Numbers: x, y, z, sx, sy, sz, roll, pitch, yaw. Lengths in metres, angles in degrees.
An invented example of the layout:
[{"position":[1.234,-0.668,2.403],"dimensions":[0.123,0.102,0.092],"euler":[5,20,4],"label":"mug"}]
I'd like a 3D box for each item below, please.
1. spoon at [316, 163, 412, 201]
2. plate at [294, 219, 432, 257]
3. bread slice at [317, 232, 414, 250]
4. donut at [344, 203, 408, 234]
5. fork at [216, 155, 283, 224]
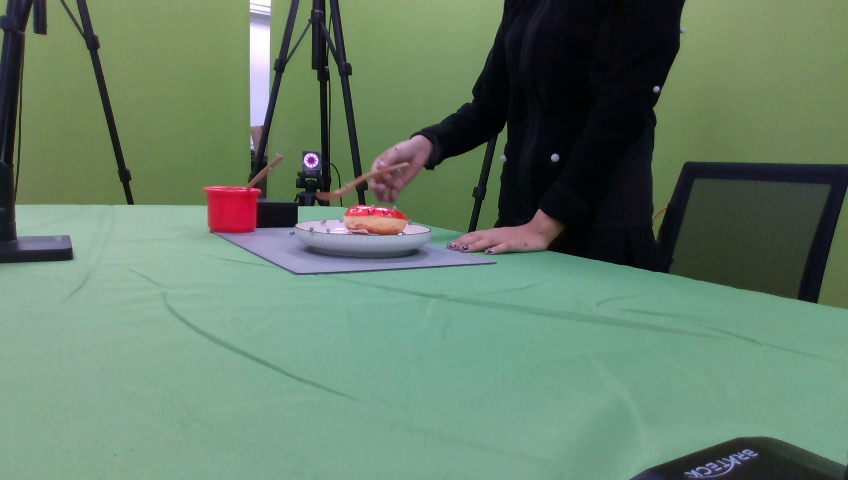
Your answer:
[{"position":[-0.100,-0.104,1.052],"dimensions":[0.194,0.021,0.041],"euler":[-28,10,-29],"label":"spoon"},{"position":[-0.092,-0.003,0.923],"dimensions":[0.209,0.038,0.209],"euler":[2,7,0],"label":"plate"},{"position":[-0.093,0.000,0.915],"dimensions":[0.132,0.019,0.104],"euler":[0,6,-26],"label":"bread slice"},{"position":[-0.074,-0.031,0.931],"dimensions":[0.099,0.048,0.099],"euler":[4,3,0],"label":"donut"},{"position":[-0.304,-0.084,1.054],"dimensions":[0.207,0.018,0.028],"euler":[-42,-19,30],"label":"fork"}]
